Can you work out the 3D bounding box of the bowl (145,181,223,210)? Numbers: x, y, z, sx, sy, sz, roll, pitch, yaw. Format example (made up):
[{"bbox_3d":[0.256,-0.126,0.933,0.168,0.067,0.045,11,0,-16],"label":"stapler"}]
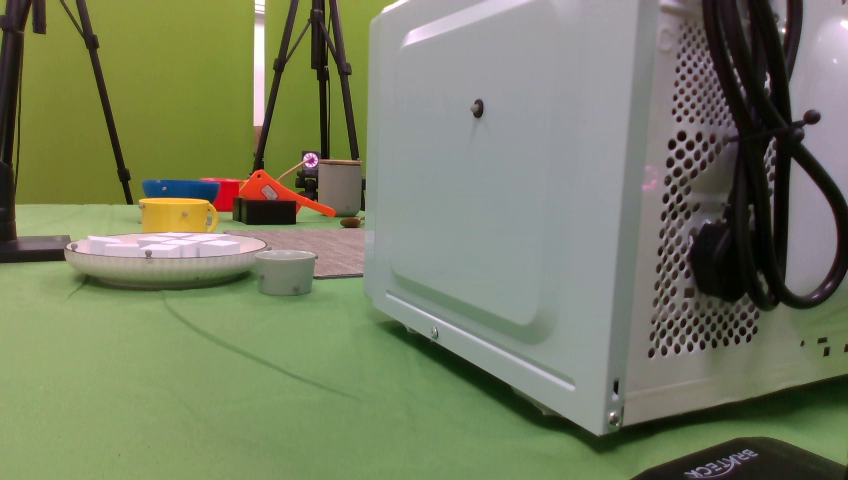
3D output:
[{"bbox_3d":[-0.499,-0.081,1.261,0.151,0.077,0.151,2,7,0],"label":"bowl"}]

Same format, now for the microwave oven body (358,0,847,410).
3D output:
[{"bbox_3d":[0.210,-0.051,0.471,0.444,0.260,0.324,-1,7,-28],"label":"microwave oven body"}]

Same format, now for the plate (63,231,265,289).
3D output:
[{"bbox_3d":[-0.288,0.021,0.687,0.208,0.039,0.207,2,8,0],"label":"plate"}]

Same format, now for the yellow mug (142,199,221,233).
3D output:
[{"bbox_3d":[-0.373,-0.030,0.948,0.099,0.064,0.131,6,8,30],"label":"yellow mug"}]

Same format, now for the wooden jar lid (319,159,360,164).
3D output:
[{"bbox_3d":[-0.203,-0.189,1.482,0.108,0.020,0.108,2,10,0],"label":"wooden jar lid"}]

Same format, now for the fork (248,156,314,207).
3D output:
[{"bbox_3d":[-0.360,-0.147,1.523,0.207,0.019,0.028,-43,16,-6],"label":"fork"}]

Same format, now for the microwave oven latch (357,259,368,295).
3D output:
[{"bbox_3d":[-0.019,0.031,0.530,0.079,0.029,0.030,-1,7,-27],"label":"microwave oven latch"}]

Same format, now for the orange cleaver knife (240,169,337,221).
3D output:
[{"bbox_3d":[-0.286,-0.082,1.298,0.212,0.077,0.012,25,-2,-31],"label":"orange cleaver knife"}]

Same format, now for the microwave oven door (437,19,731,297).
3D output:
[{"bbox_3d":[0.181,-0.076,0.618,0.358,0.243,0.039,-2,9,-28],"label":"microwave oven door"}]

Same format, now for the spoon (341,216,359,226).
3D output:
[{"bbox_3d":[-0.132,-0.048,1.305,0.041,0.021,0.194,-16,3,14],"label":"spoon"}]

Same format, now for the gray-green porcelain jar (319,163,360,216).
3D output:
[{"bbox_3d":[-0.204,-0.126,1.490,0.106,0.126,0.106,2,8,0],"label":"gray-green porcelain jar"}]

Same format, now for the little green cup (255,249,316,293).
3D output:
[{"bbox_3d":[-0.144,0.031,0.627,0.061,0.038,0.061,2,6,0],"label":"little green cup"}]
